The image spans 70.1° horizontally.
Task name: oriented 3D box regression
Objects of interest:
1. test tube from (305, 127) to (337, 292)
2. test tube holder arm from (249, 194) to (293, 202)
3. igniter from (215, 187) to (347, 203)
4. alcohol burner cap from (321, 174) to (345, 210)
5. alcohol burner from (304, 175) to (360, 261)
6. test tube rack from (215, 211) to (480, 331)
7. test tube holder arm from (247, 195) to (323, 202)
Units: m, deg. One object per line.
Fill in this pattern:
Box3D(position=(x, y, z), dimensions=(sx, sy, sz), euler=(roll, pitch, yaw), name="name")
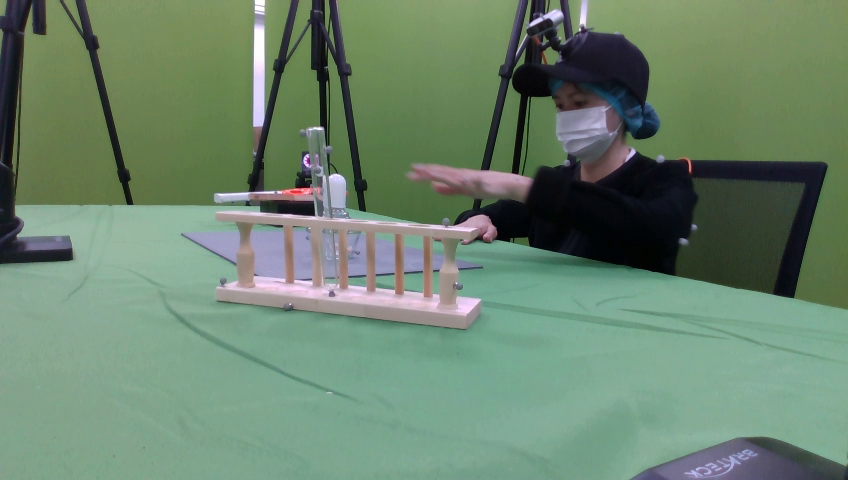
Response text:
Box3D(position=(-0.092, -0.026, 0.546), dimensions=(0.017, 0.150, 0.017), euler=(-4, 9, 1), name="test tube")
Box3D(position=(-0.303, -0.084, 1.200), dimensions=(0.088, 0.015, 0.010), euler=(-2, 2, -35), name="test tube holder arm")
Box3D(position=(-0.293, -0.095, 1.267), dimensions=(0.278, 0.025, 0.057), euler=(-6, 12, -33), name="igniter")
Box3D(position=(-0.125, -0.067, 0.833), dimensions=(0.034, 0.048, 0.034), euler=(5, 9, -1), name="alcohol burner cap")
Box3D(position=(-0.126, -0.031, 0.838), dimensions=(0.078, 0.119, 0.078), euler=(3, 5, 0), name="alcohol burner")
Box3D(position=(-0.071, 0.023, 0.565), dimensions=(0.242, 0.085, 0.067), euler=(5, 7, 16), name="test tube rack")
Box3D(position=(-0.269, -0.085, 1.230), dimensions=(0.179, 0.015, 0.013), euler=(-2, 2, -35), name="test tube holder arm")
